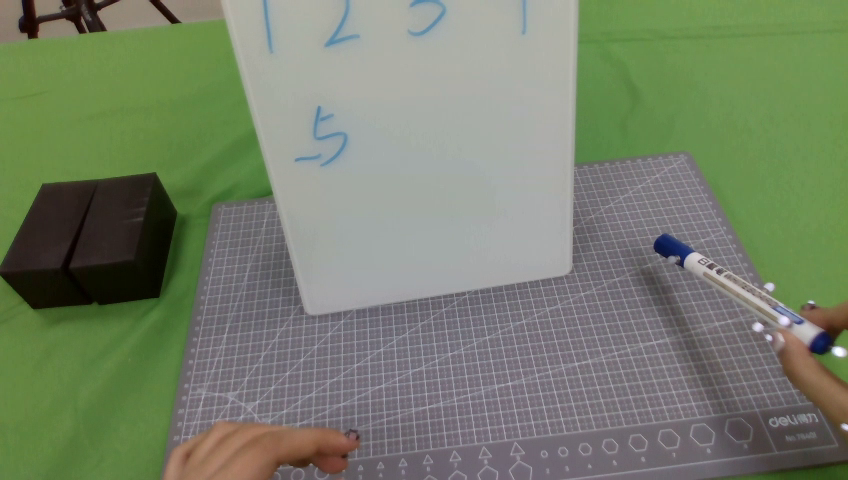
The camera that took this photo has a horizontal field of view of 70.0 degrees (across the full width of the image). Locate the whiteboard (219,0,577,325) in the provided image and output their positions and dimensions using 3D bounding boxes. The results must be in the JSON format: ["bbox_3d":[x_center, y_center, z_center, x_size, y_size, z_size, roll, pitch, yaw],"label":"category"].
[{"bbox_3d":[-0.011,-0.114,0.462,0.217,0.308,0.142,-8,30,-2],"label":"whiteboard"}]

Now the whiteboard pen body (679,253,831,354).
[{"bbox_3d":[0.213,0.034,0.416,0.017,0.017,0.139,-19,30,-12],"label":"whiteboard pen body"}]

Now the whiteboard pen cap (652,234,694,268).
[{"bbox_3d":[0.192,0.009,0.465,0.018,0.018,0.033,-20,33,-12],"label":"whiteboard pen cap"}]
